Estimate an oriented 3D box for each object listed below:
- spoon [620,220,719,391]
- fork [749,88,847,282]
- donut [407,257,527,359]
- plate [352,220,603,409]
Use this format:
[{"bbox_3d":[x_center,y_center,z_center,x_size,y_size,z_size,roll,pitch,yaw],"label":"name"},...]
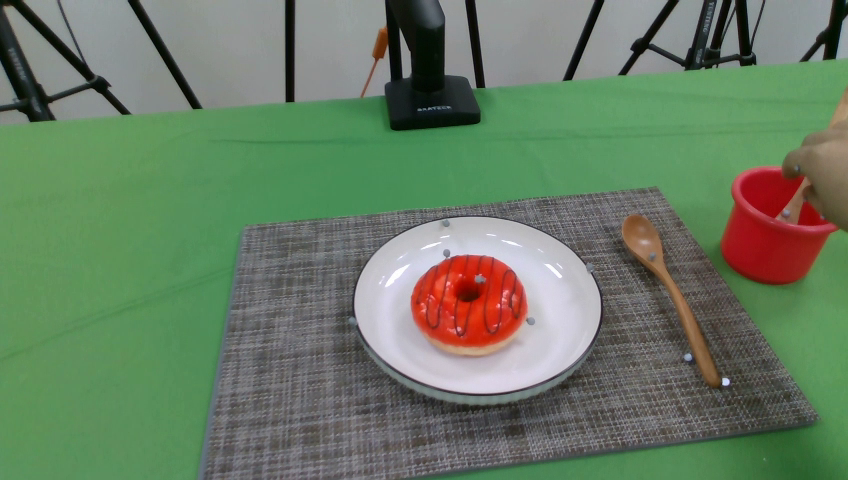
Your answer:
[{"bbox_3d":[0.216,0.050,0.537,0.042,0.022,0.191,11,38,-15],"label":"spoon"},{"bbox_3d":[0.358,-0.054,0.564,0.028,0.019,0.207,27,91,29],"label":"fork"},{"bbox_3d":[0.036,0.056,0.505,0.099,0.049,0.098,-1,43,2],"label":"donut"},{"bbox_3d":[0.045,0.060,0.517,0.209,0.038,0.207,0,40,1],"label":"plate"}]
